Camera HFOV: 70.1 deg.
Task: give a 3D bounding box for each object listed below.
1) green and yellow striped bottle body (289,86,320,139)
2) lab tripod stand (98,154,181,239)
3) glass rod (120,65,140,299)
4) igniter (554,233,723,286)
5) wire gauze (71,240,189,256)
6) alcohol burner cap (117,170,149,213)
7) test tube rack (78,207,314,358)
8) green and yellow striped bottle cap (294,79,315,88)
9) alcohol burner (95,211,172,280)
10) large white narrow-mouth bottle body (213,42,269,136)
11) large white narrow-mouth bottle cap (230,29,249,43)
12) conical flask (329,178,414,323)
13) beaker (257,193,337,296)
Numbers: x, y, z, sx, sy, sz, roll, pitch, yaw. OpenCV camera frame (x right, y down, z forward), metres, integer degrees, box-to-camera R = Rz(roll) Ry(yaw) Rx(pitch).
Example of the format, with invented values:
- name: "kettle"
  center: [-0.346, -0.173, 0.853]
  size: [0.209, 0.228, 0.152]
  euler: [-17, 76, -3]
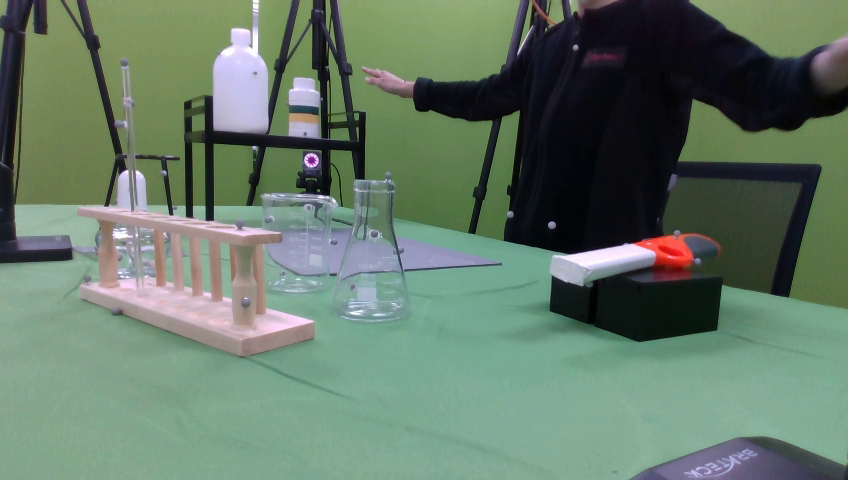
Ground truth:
- name: "green and yellow striped bottle body"
  center: [-0.250, -0.272, 1.261]
  size: [0.063, 0.119, 0.063]
  euler: [3, 7, 0]
- name: "lab tripod stand"
  center: [-0.427, -0.066, 0.942]
  size: [0.148, 0.131, 0.148]
  euler: [1, 6, 0]
- name: "glass rod"
  center: [-0.249, -0.047, 0.513]
  size: [0.008, 0.199, 0.008]
  euler: [-1, 4, 0]
- name: "igniter"
  center: [0.214, 0.015, 0.570]
  size: [0.278, 0.025, 0.057]
  euler: [-5, 22, -44]
- name: "wire gauze"
  center: [-0.399, 0.013, 0.820]
  size: [0.126, 0.011, 0.121]
  euler: [-3, 8, -37]
- name: "alcohol burner cap"
  center: [-0.320, -0.052, 0.661]
  size: [0.034, 0.048, 0.034]
  euler: [-3, -1, 0]
- name: "test tube rack"
  center: [-0.196, 0.024, 0.500]
  size: [0.241, 0.085, 0.067]
  euler: [8, 8, 37]
- name: "green and yellow striped bottle cap"
  center: [-0.248, -0.323, 1.256]
  size: [0.045, 0.020, 0.045]
  euler: [3, 9, 0]
- name: "alcohol burner"
  center: [-0.320, -0.016, 0.667]
  size: [0.078, 0.119, 0.078]
  euler: [0, 7, 0]
- name: "large white narrow-mouth bottle body"
  center: [-0.353, -0.301, 1.166]
  size: [0.102, 0.194, 0.102]
  euler: [1, 8, 0]
- name: "large white narrow-mouth bottle cap"
  center: [-0.352, -0.386, 1.152]
  size: [0.038, 0.024, 0.037]
  euler: [1, 8, 0]
- name: "conical flask"
  center: [-0.045, 0.007, 0.534]
  size: [0.075, 0.122, 0.075]
  euler: [2, 7, 0]
- name: "beaker"
  center: [-0.130, 0.004, 0.628]
  size: [0.084, 0.100, 0.074]
  euler: [5, 8, 15]
